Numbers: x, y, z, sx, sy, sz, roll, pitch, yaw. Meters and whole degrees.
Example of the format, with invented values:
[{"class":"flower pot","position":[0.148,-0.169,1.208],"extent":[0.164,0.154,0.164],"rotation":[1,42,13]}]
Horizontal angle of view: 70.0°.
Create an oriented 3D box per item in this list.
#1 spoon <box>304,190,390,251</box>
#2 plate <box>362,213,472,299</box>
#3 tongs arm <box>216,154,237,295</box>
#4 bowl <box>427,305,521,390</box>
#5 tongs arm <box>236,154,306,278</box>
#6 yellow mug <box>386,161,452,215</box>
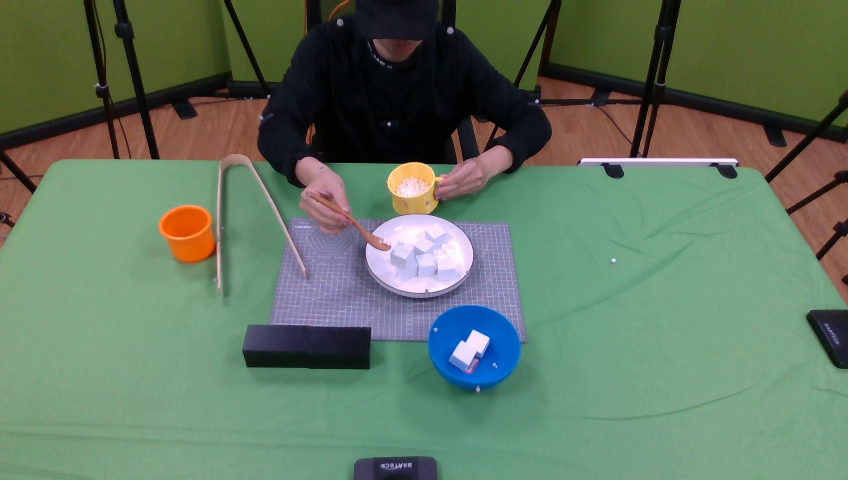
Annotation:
[{"class":"spoon","position":[-0.127,-0.033,1.025],"extent":[0.021,0.195,0.041],"rotation":[-39,38,13]},{"class":"plate","position":[-0.014,0.034,1.150],"extent":[0.208,0.039,0.206],"rotation":[2,46,-2]},{"class":"tongs arm","position":[-0.388,-0.044,1.200],"extent":[0.051,0.026,0.382],"rotation":[-10,46,-11]},{"class":"bowl","position":[0.076,0.188,0.985],"extent":[0.151,0.077,0.150],"rotation":[3,46,-3]},{"class":"tongs arm","position":[-0.311,-0.060,1.223],"extent":[0.028,0.028,0.385],"rotation":[-23,50,-18]},{"class":"yellow mug","position":[-0.008,-0.107,1.252],"extent":[0.131,0.064,0.099],"rotation":[-6,52,4]}]
